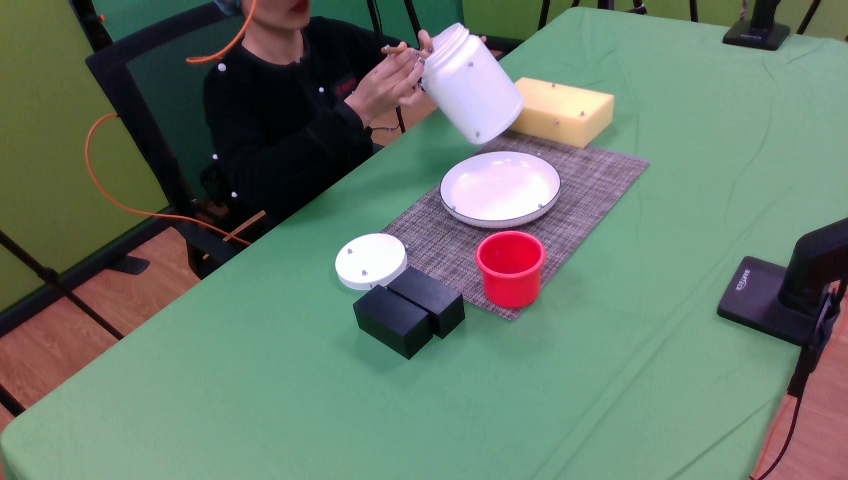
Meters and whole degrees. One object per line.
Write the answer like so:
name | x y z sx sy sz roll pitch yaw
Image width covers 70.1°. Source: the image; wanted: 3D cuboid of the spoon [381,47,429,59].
spoon | -0.014 -0.313 1.020 0.041 0.021 0.195 -2 6 34

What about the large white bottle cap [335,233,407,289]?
large white bottle cap | -0.085 0.032 0.961 0.115 0.018 0.114 -6 42 6

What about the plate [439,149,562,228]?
plate | 0.131 -0.085 1.040 0.209 0.038 0.208 -5 41 5

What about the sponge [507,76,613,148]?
sponge | 0.254 -0.259 1.207 0.205 0.061 0.118 22 47 31

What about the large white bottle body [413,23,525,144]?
large white bottle body | 0.079 -0.280 1.087 0.130 0.186 0.130 -35 24 19
